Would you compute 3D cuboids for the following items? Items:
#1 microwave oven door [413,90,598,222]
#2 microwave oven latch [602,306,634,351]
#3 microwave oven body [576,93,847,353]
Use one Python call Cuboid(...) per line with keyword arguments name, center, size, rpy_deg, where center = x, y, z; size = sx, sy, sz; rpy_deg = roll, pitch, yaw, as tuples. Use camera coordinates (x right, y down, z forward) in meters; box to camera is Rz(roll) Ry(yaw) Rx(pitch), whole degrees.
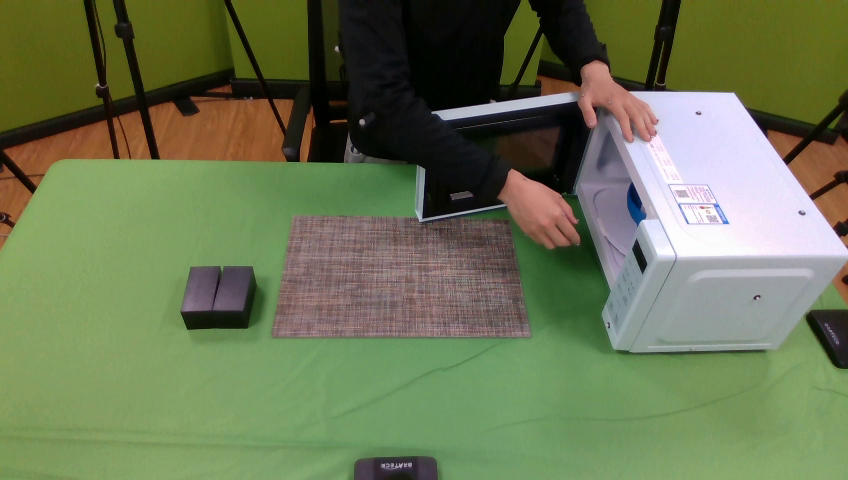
Cuboid(name="microwave oven door", center=(0.157, -0.165, 1.197), size=(0.356, 0.245, 0.039), rpy_deg=(-11, 48, -15))
Cuboid(name="microwave oven latch", center=(0.332, 0.153, 1.044), size=(0.030, 0.029, 0.078), rpy_deg=(0, 45, -3))
Cuboid(name="microwave oven body", center=(0.475, -0.041, 1.109), size=(0.326, 0.261, 0.438), rpy_deg=(-1, 45, -4))
